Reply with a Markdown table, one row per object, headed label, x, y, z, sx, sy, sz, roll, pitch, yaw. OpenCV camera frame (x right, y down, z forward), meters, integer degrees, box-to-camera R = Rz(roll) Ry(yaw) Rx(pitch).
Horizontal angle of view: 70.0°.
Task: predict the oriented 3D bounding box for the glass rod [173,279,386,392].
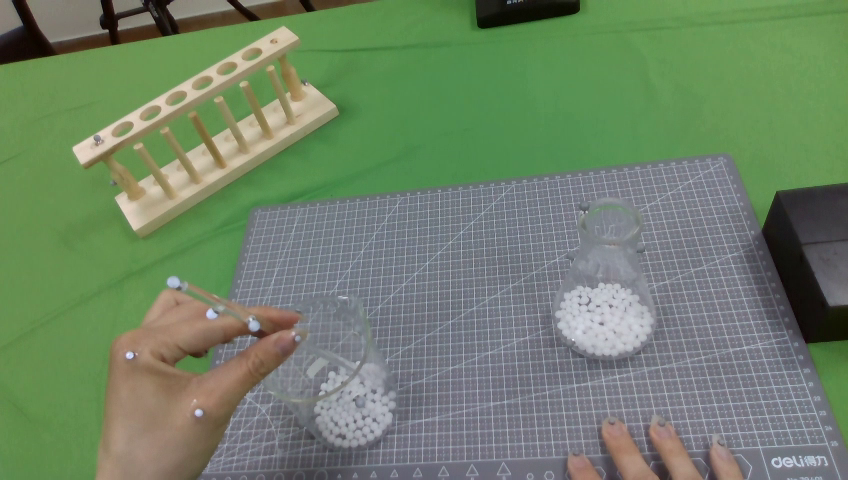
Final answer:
| label | x | y | z | sx | sy | sz | roll | pitch | yaw |
| --- | --- | --- | --- | --- | --- | --- | --- | --- | --- |
| glass rod | -0.077 | 0.067 | 0.379 | 0.008 | 0.202 | 0.008 | -15 | 56 | 24 |

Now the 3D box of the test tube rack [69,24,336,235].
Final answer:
| label | x | y | z | sx | sy | sz | roll | pitch | yaw |
| --- | --- | --- | --- | --- | --- | --- | --- | --- | --- |
| test tube rack | -0.218 | -0.117 | 0.623 | 0.242 | 0.086 | 0.066 | -36 | 54 | -15 |

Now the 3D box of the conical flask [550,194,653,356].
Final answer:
| label | x | y | z | sx | sy | sz | roll | pitch | yaw |
| --- | --- | --- | --- | --- | --- | --- | --- | --- | --- |
| conical flask | 0.122 | 0.022 | 0.413 | 0.075 | 0.123 | 0.074 | -6 | 52 | 9 |

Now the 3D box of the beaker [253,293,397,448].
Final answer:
| label | x | y | z | sx | sy | sz | roll | pitch | yaw |
| --- | --- | --- | --- | --- | --- | --- | --- | --- | --- |
| beaker | -0.061 | 0.092 | 0.417 | 0.073 | 0.101 | 0.083 | 21 | 60 | 26 |
